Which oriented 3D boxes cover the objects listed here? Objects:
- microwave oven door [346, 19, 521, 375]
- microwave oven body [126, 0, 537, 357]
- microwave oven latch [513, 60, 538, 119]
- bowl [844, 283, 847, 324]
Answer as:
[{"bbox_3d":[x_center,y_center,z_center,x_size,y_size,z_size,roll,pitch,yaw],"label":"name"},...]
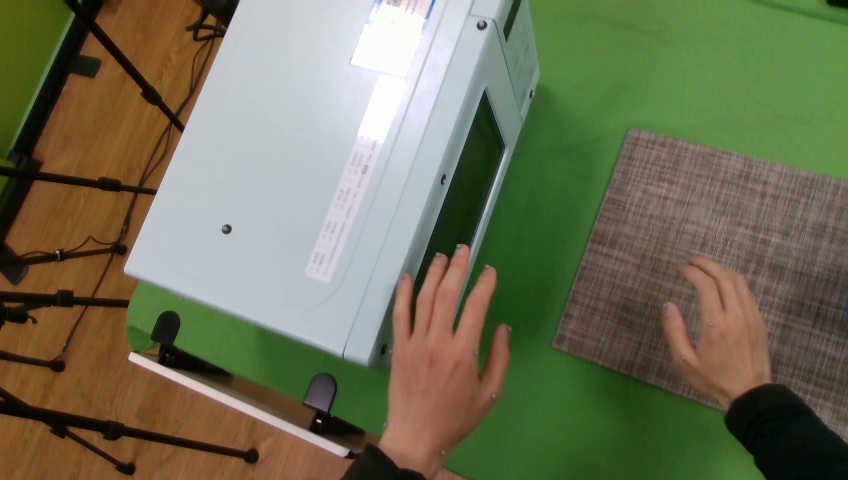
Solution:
[{"bbox_3d":[0.025,-0.026,0.683,0.039,0.245,0.355,17,81,20],"label":"microwave oven door"},{"bbox_3d":[-0.091,-0.104,0.740,0.324,0.262,0.440,17,82,19],"label":"microwave oven body"},{"bbox_3d":[0.130,-0.203,0.807,0.030,0.030,0.079,17,82,19],"label":"microwave oven latch"},{"bbox_3d":[0.508,0.075,0.623,0.151,0.077,0.150,-4,75,15],"label":"bowl"}]
